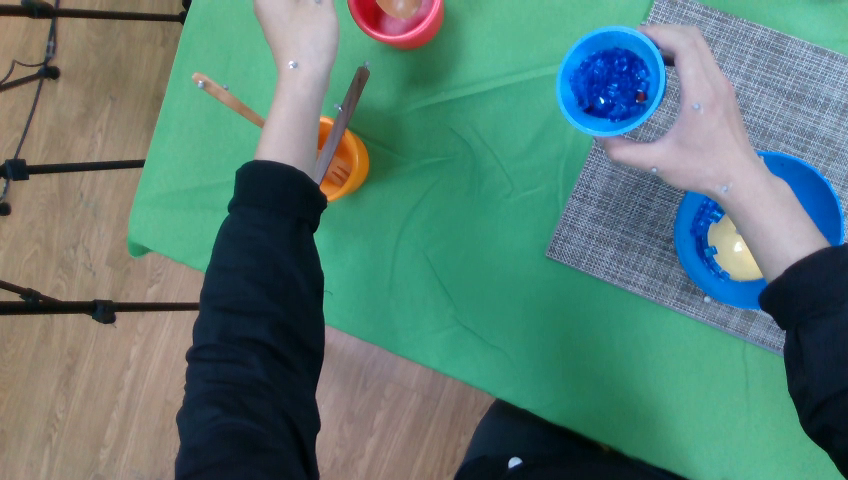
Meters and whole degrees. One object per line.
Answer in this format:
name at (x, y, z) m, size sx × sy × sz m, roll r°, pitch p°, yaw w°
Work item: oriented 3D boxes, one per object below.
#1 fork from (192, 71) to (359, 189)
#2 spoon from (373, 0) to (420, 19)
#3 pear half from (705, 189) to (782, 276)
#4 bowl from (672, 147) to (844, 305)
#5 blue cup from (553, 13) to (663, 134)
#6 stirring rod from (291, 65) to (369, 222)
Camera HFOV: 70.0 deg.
fork at (-0.149, -0.112, 0.636) m, size 0.028 × 0.018 × 0.209 m, roll -41°, pitch 133°, yaw 19°
spoon at (-0.074, -0.258, 0.562) m, size 0.021 × 0.195 × 0.042 m, roll 44°, pitch 110°, yaw 35°
pear half at (0.320, -0.008, 0.600) m, size 0.070 × 0.031 × 0.088 m, roll -4°, pitch 91°, yaw 7°
bowl at (0.319, -0.016, 0.605) m, size 0.151 × 0.077 × 0.151 m, roll 1°, pitch 97°, yaw 9°
blue cup at (0.166, -0.142, 0.529) m, size 0.092 × 0.100 × 0.093 m, roll 7°, pitch 110°, yaw 22°
stirring rod at (-0.099, -0.099, 0.628) m, size 0.014 × 0.006 × 0.176 m, roll 27°, pitch 100°, yaw 3°
